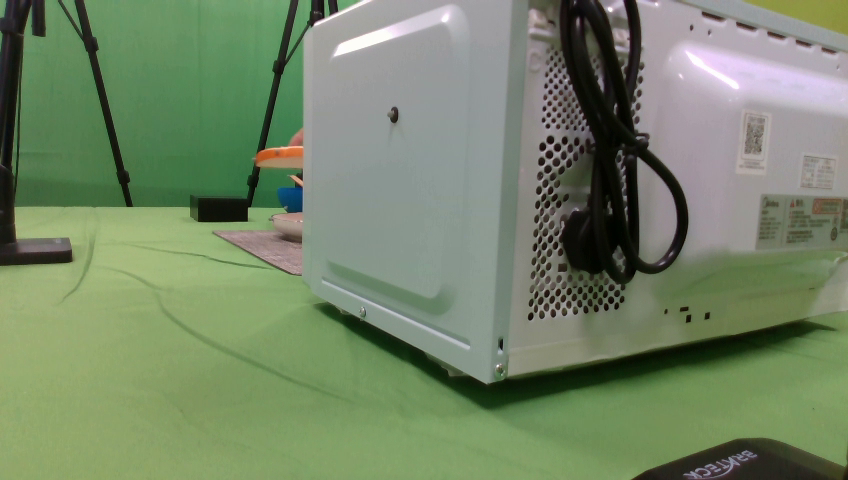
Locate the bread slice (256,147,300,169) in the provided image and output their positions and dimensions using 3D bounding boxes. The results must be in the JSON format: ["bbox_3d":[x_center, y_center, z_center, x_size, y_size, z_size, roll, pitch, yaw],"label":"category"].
[{"bbox_3d":[-0.222,-0.142,1.046,0.132,0.019,0.104,-4,-4,-28],"label":"bread slice"}]

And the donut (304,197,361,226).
[{"bbox_3d":[-0.159,-0.050,1.055,0.099,0.048,0.099,3,8,0],"label":"donut"}]

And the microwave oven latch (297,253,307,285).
[{"bbox_3d":[-0.082,0.027,0.582,0.079,0.029,0.030,-1,8,-33],"label":"microwave oven latch"}]

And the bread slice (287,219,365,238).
[{"bbox_3d":[-0.170,-0.021,1.056,0.134,0.018,0.107,3,7,-6],"label":"bread slice"}]

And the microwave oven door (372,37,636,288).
[{"bbox_3d":[0.109,-0.080,0.686,0.358,0.243,0.039,-2,9,-33],"label":"microwave oven door"}]

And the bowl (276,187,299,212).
[{"bbox_3d":[-0.241,-0.073,1.303,0.151,0.077,0.151,2,7,0],"label":"bowl"}]

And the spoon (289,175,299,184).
[{"bbox_3d":[-0.261,-0.110,1.343,0.042,0.021,0.192,-8,33,-30],"label":"spoon"}]

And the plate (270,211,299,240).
[{"bbox_3d":[-0.162,-0.022,1.058,0.208,0.039,0.207,2,7,0],"label":"plate"}]

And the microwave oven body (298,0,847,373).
[{"bbox_3d":[0.151,-0.055,0.543,0.444,0.260,0.324,-1,8,-33],"label":"microwave oven body"}]
